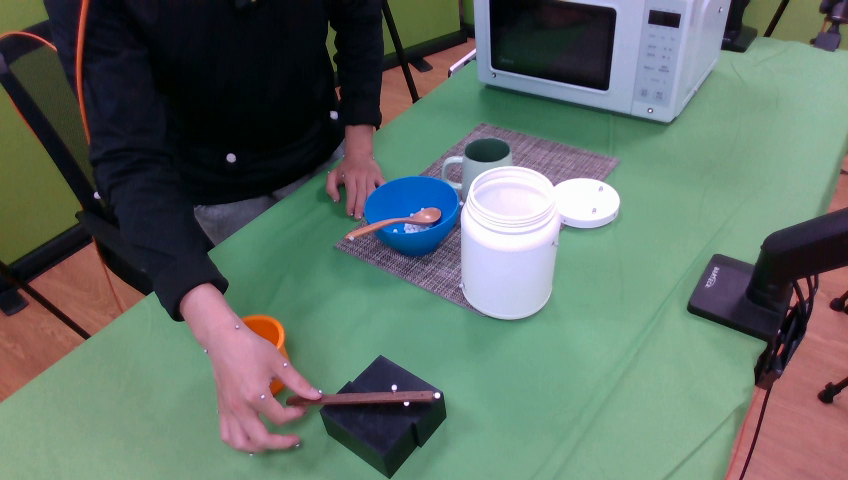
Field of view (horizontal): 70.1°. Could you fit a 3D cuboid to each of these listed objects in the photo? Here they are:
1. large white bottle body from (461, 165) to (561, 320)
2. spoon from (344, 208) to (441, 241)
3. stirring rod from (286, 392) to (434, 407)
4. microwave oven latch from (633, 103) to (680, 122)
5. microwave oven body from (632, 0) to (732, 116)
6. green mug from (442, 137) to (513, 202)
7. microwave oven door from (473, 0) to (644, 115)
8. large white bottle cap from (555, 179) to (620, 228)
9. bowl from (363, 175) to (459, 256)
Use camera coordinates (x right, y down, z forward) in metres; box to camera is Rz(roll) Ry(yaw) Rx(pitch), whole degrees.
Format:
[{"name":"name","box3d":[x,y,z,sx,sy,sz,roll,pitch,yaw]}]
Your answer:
[{"name":"large white bottle body","box3d":[0.115,0.004,0.816,0.130,0.185,0.130,-2,43,2]},{"name":"spoon","box3d":[-0.046,-0.025,0.912,0.041,0.021,0.195,27,27,37]},{"name":"stirring rod","box3d":[-0.076,0.183,0.697,0.176,0.006,0.014,-4,35,10]},{"name":"microwave oven latch","box3d":[0.444,-0.249,1.157,0.078,0.029,0.030,21,48,30]},{"name":"microwave oven body","box3d":[0.377,-0.462,1.267,0.438,0.261,0.327,21,49,30]},{"name":"green mug","box3d":[0.091,-0.108,1.012,0.125,0.105,0.092,2,42,11]},{"name":"microwave oven door","box3d":[0.257,-0.396,1.199,0.353,0.245,0.039,21,48,29]},{"name":"large white bottle cap","box3d":[0.265,-0.062,1.001,0.115,0.018,0.114,-3,41,3]},{"name":"bowl","box3d":[-0.016,-0.029,0.955,0.151,0.077,0.150,-4,40,4]}]
